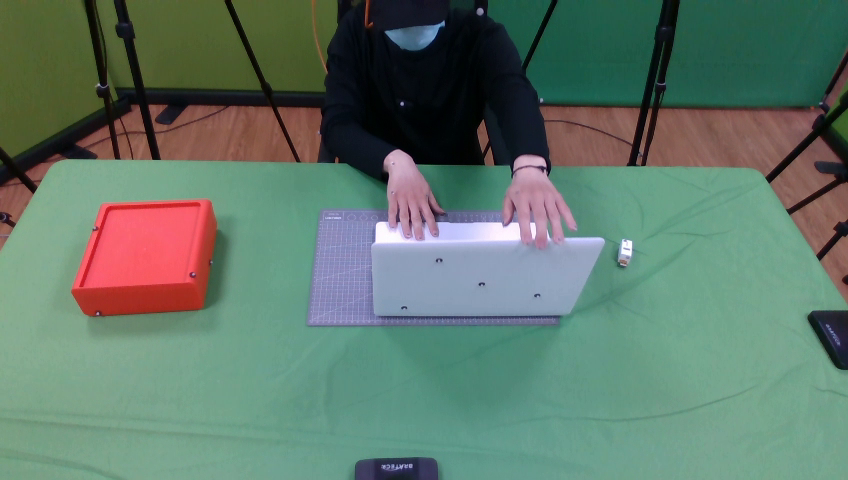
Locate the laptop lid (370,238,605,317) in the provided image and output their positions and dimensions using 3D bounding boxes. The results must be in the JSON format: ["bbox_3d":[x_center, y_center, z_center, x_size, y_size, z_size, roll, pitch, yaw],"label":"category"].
[{"bbox_3d":[0.091,0.067,0.980,0.357,0.243,0.013,1,55,-5],"label":"laptop lid"}]

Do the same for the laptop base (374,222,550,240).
[{"bbox_3d":[0.080,0.049,1.159,0.355,0.023,0.234,0,42,-4],"label":"laptop base"}]

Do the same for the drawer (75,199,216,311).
[{"bbox_3d":[-0.494,0.023,1.097,0.195,0.073,0.210,-2,47,-8],"label":"drawer"}]

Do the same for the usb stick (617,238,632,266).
[{"bbox_3d":[0.397,0.025,1.199,0.021,0.027,0.059,15,50,9],"label":"usb stick"}]

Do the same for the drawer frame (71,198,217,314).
[{"bbox_3d":[-0.493,0.023,1.096,0.202,0.083,0.212,-3,47,-8],"label":"drawer frame"}]
